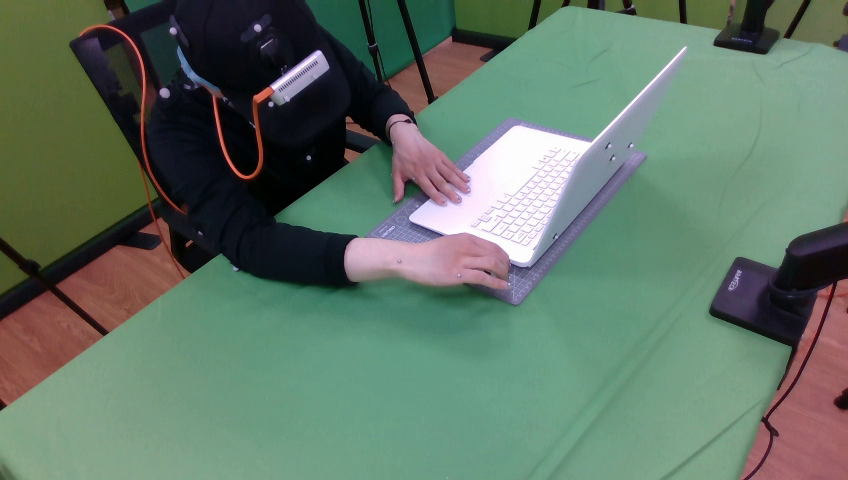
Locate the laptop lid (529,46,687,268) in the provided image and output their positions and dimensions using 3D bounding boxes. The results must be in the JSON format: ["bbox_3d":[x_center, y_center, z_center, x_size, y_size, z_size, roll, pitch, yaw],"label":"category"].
[{"bbox_3d":[0.277,-0.126,0.903,0.013,0.242,0.358,35,52,17],"label":"laptop lid"}]

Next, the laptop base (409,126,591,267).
[{"bbox_3d":[0.169,-0.091,1.054,0.233,0.023,0.355,20,47,33],"label":"laptop base"}]

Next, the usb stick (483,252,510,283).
[{"bbox_3d":[0.110,0.037,0.890,0.021,0.027,0.059,18,37,28],"label":"usb stick"}]
